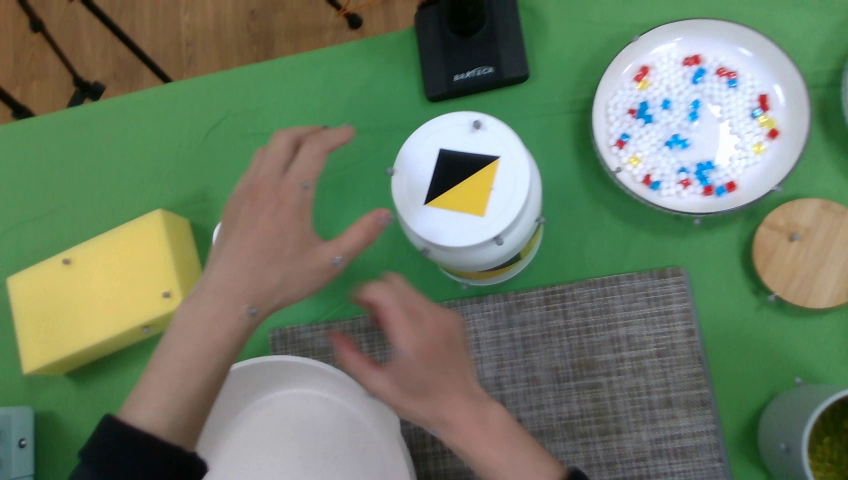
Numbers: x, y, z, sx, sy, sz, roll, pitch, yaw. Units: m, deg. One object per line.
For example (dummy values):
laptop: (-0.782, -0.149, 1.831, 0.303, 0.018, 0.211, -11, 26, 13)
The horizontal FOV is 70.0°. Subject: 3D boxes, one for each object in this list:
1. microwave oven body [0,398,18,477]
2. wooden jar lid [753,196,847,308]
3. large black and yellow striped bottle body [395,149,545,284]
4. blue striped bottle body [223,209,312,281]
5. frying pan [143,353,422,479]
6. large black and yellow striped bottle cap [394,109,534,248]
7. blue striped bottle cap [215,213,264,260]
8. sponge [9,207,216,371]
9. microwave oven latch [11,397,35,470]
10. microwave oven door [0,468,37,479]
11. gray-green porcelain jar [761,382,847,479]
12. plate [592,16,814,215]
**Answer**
microwave oven body: (-0.604, 0.395, 0.581, 0.325, 0.261, 0.439, -9, 79, 9)
wooden jar lid: (0.376, 0.012, 0.585, 0.108, 0.021, 0.108, -2, 81, 11)
large black and yellow striped bottle body: (0.048, -0.033, 0.574, 0.130, 0.185, 0.130, -2, 79, 11)
blue striped bottle body: (-0.170, 0.005, 0.642, 0.063, 0.121, 0.063, -2, 79, 11)
frying pan: (-0.078, 0.335, 0.569, 0.307, 0.103, 0.483, -39, 67, 3)
large black and yellow striped bottle cap: (0.032, -0.050, 0.493, 0.115, 0.019, 0.114, -2, 81, 11)
blue striped bottle cap: (-0.181, -0.004, 0.593, 0.044, 0.021, 0.044, -2, 78, 8)
sponge: (-0.360, 0.060, 0.701, 0.207, 0.061, 0.117, -23, 76, 6)
microwave oven latch: (-0.461, 0.218, 0.685, 0.030, 0.029, 0.079, -10, 79, 9)
microwave oven door: (-0.458, 0.412, 0.544, 0.039, 0.245, 0.354, -10, 78, 10)
gray-green porcelain jar: (0.352, 0.172, 0.505, 0.105, 0.127, 0.105, -2, 79, 11)
plate: (0.278, -0.125, 0.620, 0.209, 0.038, 0.208, -2, 80, 12)
